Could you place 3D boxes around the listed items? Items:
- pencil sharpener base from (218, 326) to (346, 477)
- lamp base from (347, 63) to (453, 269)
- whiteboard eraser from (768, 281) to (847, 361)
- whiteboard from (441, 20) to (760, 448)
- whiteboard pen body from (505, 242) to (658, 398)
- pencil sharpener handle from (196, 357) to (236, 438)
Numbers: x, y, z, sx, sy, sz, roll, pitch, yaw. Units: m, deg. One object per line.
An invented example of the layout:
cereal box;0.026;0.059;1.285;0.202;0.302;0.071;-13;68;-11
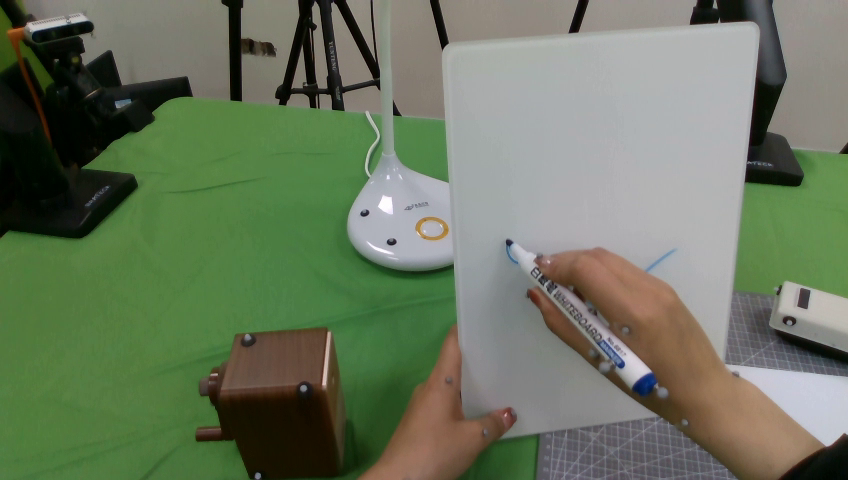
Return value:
pencil sharpener base;-0.102;0.122;0.450;0.077;0.108;0.060;-3;39;-2
lamp base;-0.017;-0.087;0.654;0.161;0.182;0.177;-25;42;-27
whiteboard eraser;0.375;0.079;0.544;0.112;0.042;0.055;20;44;24
whiteboard;0.121;-0.012;0.503;0.217;0.307;0.143;-6;19;-5
whiteboard pen body;0.093;0.044;0.385;0.017;0.017;0.139;-21;48;-23
pencil sharpener handle;-0.154;0.117;0.438;0.031;0.068;0.035;-3;26;-2
